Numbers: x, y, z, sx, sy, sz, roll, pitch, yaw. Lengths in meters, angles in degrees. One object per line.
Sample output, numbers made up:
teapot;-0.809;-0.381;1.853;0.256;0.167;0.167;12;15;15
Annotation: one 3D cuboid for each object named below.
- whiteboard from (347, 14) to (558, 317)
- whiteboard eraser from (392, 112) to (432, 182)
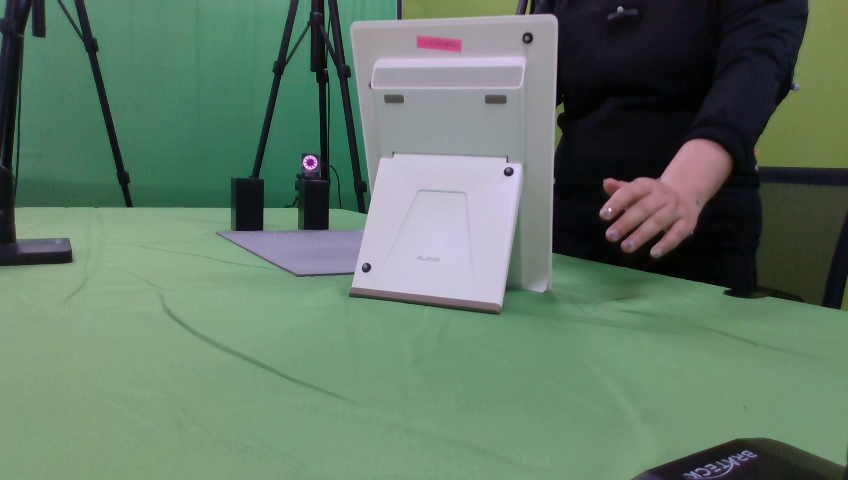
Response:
whiteboard;0.012;-0.056;0.609;0.216;0.305;0.144;5;27;19
whiteboard eraser;-0.016;-0.122;0.801;0.041;0.101;0.019;12;47;27
